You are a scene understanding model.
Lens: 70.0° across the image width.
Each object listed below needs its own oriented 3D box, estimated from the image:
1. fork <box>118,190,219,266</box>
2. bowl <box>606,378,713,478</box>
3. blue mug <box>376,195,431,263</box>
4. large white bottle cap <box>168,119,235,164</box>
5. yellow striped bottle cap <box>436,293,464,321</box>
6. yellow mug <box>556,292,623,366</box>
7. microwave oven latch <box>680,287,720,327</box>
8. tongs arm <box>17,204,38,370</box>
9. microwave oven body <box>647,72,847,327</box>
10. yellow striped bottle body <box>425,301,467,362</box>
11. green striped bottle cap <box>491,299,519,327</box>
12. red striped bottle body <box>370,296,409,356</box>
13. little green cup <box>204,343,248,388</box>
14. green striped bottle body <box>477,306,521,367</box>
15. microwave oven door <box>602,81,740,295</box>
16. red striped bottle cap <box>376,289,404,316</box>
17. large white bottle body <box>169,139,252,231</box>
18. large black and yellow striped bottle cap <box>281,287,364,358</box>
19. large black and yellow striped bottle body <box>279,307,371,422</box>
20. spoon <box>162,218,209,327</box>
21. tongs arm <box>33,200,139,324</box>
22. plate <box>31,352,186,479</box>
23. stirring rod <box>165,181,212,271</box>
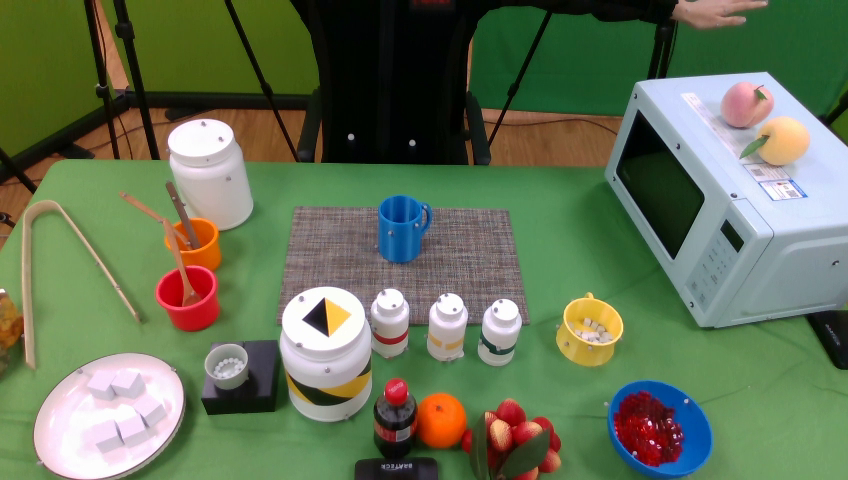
[{"bbox_3d":[-0.459,-0.020,1.092,0.208,0.018,0.028,44,44,-24],"label":"fork"},{"bbox_3d":[0.340,0.292,0.906,0.151,0.077,0.150,2,46,-2],"label":"bowl"},{"bbox_3d":[-0.035,-0.027,1.159,0.116,0.106,0.082,-24,53,-25],"label":"blue mug"},{"bbox_3d":[-0.407,-0.181,1.108,0.115,0.018,0.114,2,47,-2],"label":"large white bottle cap"},{"bbox_3d":[0.041,0.106,0.959,0.044,0.019,0.044,-1,49,1],"label":"yellow striped bottle cap"},{"bbox_3d":[0.285,0.145,1.051,0.100,0.064,0.130,7,45,3],"label":"yellow mug"},{"bbox_3d":[0.494,0.119,1.089,0.030,0.029,0.078,-7,46,-10],"label":"microwave oven latch"},{"bbox_3d":[-0.698,0.070,1.068,0.028,0.028,0.385,-20,50,-13],"label":"tongs arm"},{"bbox_3d":[0.608,-0.089,1.164,0.326,0.261,0.438,-7,46,-10],"label":"microwave oven body"},{"bbox_3d":[0.037,0.142,0.996,0.063,0.121,0.062,3,47,-3],"label":"yellow striped bottle body"},{"bbox_3d":[0.128,0.115,0.958,0.044,0.020,0.044,1,47,-1],"label":"green striped bottle cap"},{"bbox_3d":[-0.058,0.134,0.997,0.063,0.120,0.062,4,47,-4],"label":"red striped bottle body"},{"bbox_3d":[-0.294,0.190,0.909,0.061,0.039,0.061,1,48,-1],"label":"little green cup"},{"bbox_3d":[0.124,0.151,0.995,0.063,0.120,0.063,2,46,-2],"label":"green striped bottle body"},{"bbox_3d":[0.456,-0.107,1.162,0.039,0.245,0.353,-7,47,-11],"label":"microwave oven door"},{"bbox_3d":[-0.054,0.098,0.958,0.044,0.018,0.044,0,48,1],"label":"red striped bottle cap"},{"bbox_3d":[-0.411,-0.123,1.169,0.131,0.185,0.130,2,46,-2],"label":"large white bottle body"},{"bbox_3d":[-0.141,0.112,0.847,0.115,0.019,0.114,5,45,-4],"label":"large black and yellow striped bottle cap"},{"bbox_3d":[-0.145,0.173,0.907,0.131,0.185,0.130,2,46,-2],"label":"large black and yellow striped bottle body"},{"bbox_3d":[-0.410,0.054,1.029,0.041,0.021,0.194,-17,94,-16],"label":"spoon"},{"bbox_3d":[-0.622,0.034,1.105,0.051,0.026,0.382,-32,56,-26],"label":"tongs arm"},{"bbox_3d":[-0.459,0.262,0.898,0.209,0.038,0.208,2,45,-2],"label":"plate"},{"bbox_3d":[-0.430,-0.025,1.107,0.014,0.006,0.176,-25,94,-20],"label":"stirring rod"}]
